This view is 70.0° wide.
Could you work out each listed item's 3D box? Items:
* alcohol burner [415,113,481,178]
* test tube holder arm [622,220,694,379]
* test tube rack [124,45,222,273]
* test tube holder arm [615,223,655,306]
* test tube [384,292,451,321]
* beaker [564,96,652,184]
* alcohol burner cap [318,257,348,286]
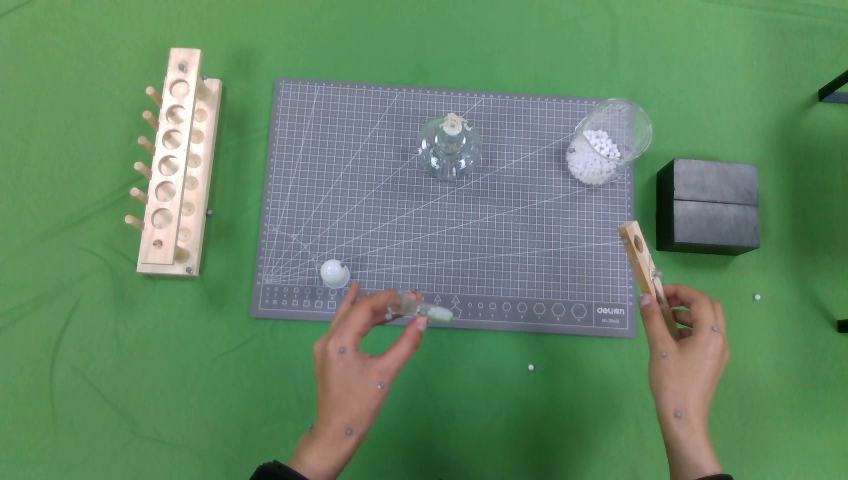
[{"bbox_3d":[0.028,-0.114,0.689,0.078,0.119,0.077,0,79,0],"label":"alcohol burner"},{"bbox_3d":[0.234,0.061,0.603,0.013,0.015,0.179,-30,102,-13],"label":"test tube holder arm"},{"bbox_3d":[-0.288,-0.089,0.686,0.067,0.085,0.241,4,79,-1],"label":"test tube rack"},{"bbox_3d":[0.209,0.024,0.592,0.010,0.015,0.088,-28,102,-13],"label":"test tube holder arm"},{"bbox_3d":[-0.001,0.062,0.550,0.017,0.151,0.017,-3,79,18],"label":"test tube"},{"bbox_3d":[0.205,-0.111,0.704,0.084,0.100,0.073,2,78,-1],"label":"beaker"},{"bbox_3d":[-0.106,0.034,0.690,0.034,0.048,0.033,1,79,-3],"label":"alcohol burner cap"}]
